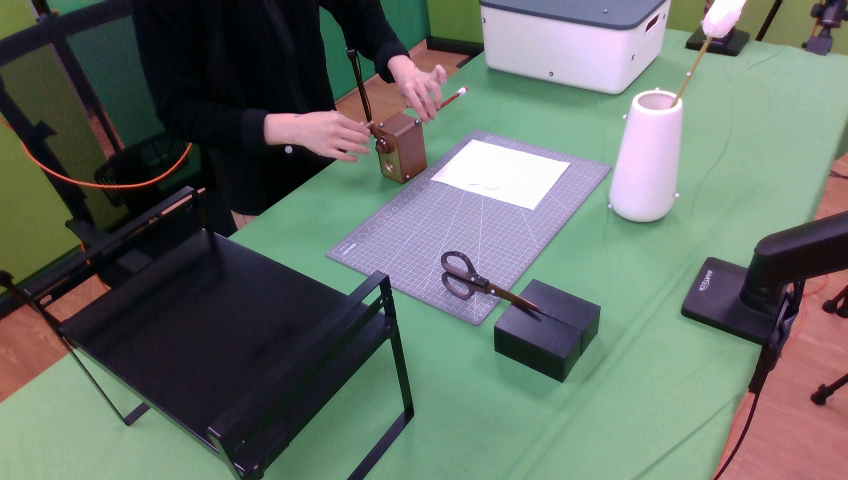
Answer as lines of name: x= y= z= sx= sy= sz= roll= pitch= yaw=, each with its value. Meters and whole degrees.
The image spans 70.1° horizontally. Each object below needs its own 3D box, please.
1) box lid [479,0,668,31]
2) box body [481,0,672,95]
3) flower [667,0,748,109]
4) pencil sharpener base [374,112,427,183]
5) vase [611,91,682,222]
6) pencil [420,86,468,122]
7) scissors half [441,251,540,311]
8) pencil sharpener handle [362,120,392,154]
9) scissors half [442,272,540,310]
box lid: x=0.335 y=-0.536 z=1.331 sx=0.368 sy=0.015 sz=0.264 roll=23 pitch=49 yaw=30
box body: x=0.341 y=-0.480 z=1.381 sx=0.361 sy=0.161 sz=0.255 roll=22 pitch=48 yaw=30
flower: x=0.354 y=-0.187 z=0.879 sx=0.038 sy=0.362 sz=0.044 roll=31 pitch=48 yaw=14
pencil sharpener base: x=-0.044 y=-0.169 z=1.115 sx=0.061 sy=0.107 sz=0.077 roll=27 pitch=51 yaw=33
vase: x=0.348 y=-0.125 z=0.935 sx=0.098 sy=0.201 sz=0.097 roll=-3 pitch=40 yaw=3
pencil: x=0.023 y=-0.249 z=1.153 sx=0.012 sy=0.012 sz=0.194 roll=26 pitch=52 yaw=33
scissors half: x=0.087 y=0.056 z=0.824 sx=0.013 sy=0.040 sz=0.173 roll=-30 pitch=44 yaw=-35
pencil sharpener handle: x=-0.085 y=-0.175 z=1.062 sx=0.035 sy=0.068 sz=0.031 roll=13 pitch=43 yaw=44
scissors half: x=0.089 y=0.074 z=0.832 sx=0.013 sy=0.040 sz=0.173 roll=-24 pitch=23 yaw=-38
